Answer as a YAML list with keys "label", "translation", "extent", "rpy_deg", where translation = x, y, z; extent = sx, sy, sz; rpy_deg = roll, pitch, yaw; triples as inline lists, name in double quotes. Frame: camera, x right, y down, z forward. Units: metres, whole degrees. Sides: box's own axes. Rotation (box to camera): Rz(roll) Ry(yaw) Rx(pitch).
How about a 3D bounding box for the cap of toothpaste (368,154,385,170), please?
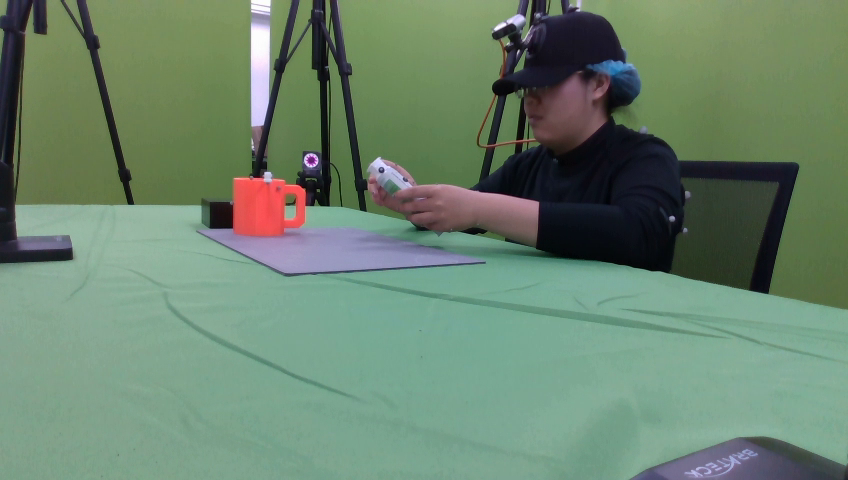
- label: "cap of toothpaste"
  translation: [-0.079, -0.129, 1.016]
  extent: [0.011, 0.037, 0.037]
  rpy_deg: [46, 12, 3]

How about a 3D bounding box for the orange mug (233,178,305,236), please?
- label: "orange mug"
  translation: [-0.273, -0.061, 1.067]
  extent: [0.127, 0.101, 0.083]
  rpy_deg: [-5, 10, -24]

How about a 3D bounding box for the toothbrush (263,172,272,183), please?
- label: "toothbrush"
  translation: [-0.273, -0.112, 1.055]
  extent: [0.014, 0.016, 0.181]
  rpy_deg: [-7, 9, -13]

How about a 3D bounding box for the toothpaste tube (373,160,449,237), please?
- label: "toothpaste tube"
  translation: [-0.024, -0.074, 1.016]
  extent: [0.034, 0.165, 0.055]
  rpy_deg: [-45, 2, -27]
